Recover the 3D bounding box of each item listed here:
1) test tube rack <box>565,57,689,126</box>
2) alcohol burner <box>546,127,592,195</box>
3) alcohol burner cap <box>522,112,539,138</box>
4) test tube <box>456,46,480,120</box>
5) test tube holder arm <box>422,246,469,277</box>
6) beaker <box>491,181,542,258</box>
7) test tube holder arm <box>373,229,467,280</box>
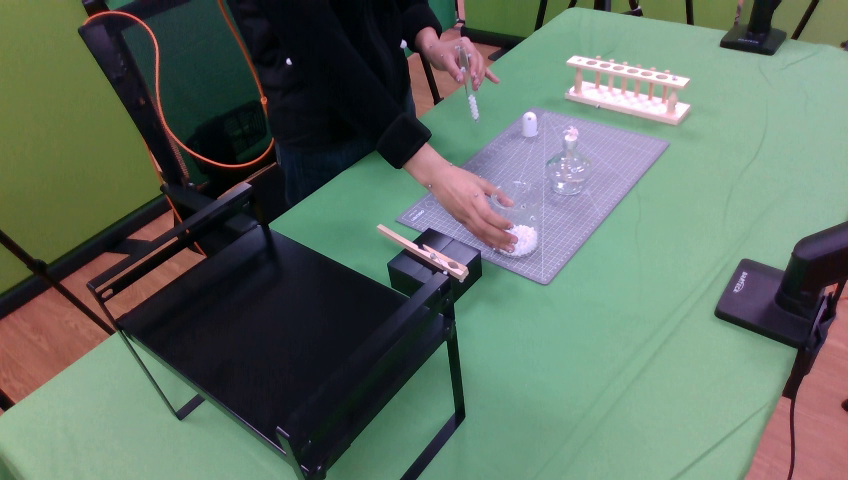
[{"bbox_3d":[0.412,-0.311,1.230,0.240,0.085,0.067,23,49,32],"label":"test tube rack"},{"bbox_3d":[0.247,-0.137,1.023,0.078,0.119,0.077,-4,38,4],"label":"alcohol burner"},{"bbox_3d":[0.210,-0.230,1.195,0.034,0.048,0.033,-6,41,6],"label":"alcohol burner cap"},{"bbox_3d":[0.080,-0.279,1.090,0.017,0.151,0.017,-10,44,10],"label":"test tube"},{"bbox_3d":[0.028,0.031,0.864,0.087,0.015,0.010,25,49,34],"label":"test tube holder arm"},{"bbox_3d":[0.143,-0.030,0.925,0.073,0.100,0.084,24,48,31],"label":"beaker"},{"bbox_3d":[-0.010,0.019,0.885,0.177,0.015,0.013,23,48,33],"label":"test tube holder arm"}]
